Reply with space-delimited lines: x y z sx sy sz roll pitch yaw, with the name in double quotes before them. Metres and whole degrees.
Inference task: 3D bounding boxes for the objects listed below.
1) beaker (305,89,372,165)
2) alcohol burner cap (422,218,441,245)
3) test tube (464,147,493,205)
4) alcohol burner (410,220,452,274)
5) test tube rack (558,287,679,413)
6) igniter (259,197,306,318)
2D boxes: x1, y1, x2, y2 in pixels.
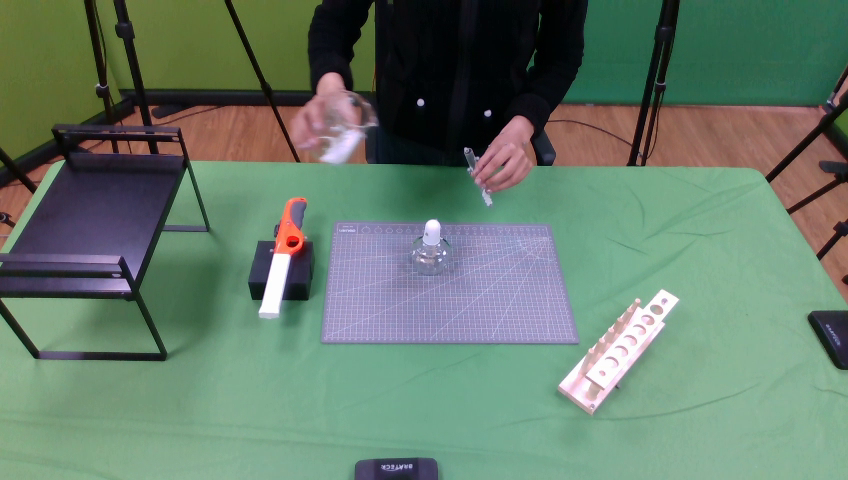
"beaker" -0.136 -0.172 0.944 0.084 0.100 0.073 24 47 -17
"alcohol burner cap" 0.014 -0.018 1.094 0.034 0.048 0.033 3 43 -3
"test tube" 0.101 -0.113 1.099 0.017 0.151 0.017 -12 50 16
"alcohol burner" 0.013 0.008 1.120 0.078 0.120 0.077 1 48 0
"test tube rack" 0.326 0.170 1.009 0.066 0.085 0.242 36 54 26
"igniter" -0.252 0.021 1.088 0.057 0.025 0.275 4 48 -2
